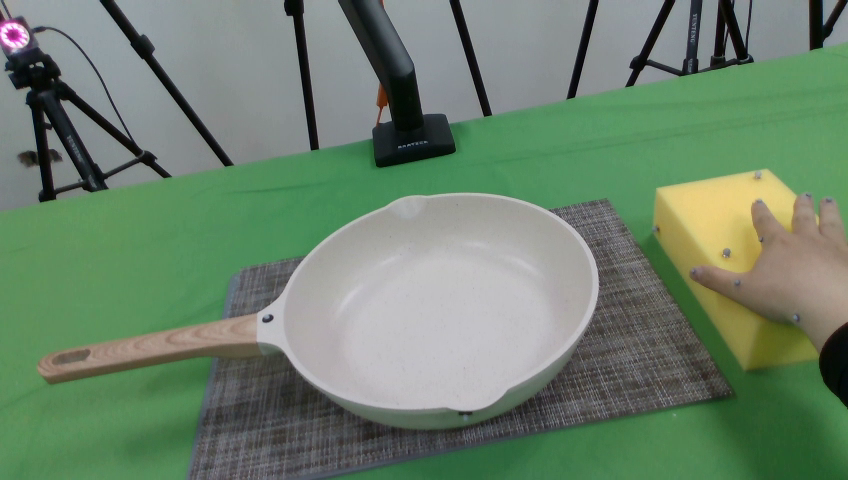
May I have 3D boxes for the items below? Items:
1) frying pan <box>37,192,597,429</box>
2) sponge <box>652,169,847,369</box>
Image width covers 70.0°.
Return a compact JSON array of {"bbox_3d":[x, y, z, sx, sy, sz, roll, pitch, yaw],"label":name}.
[{"bbox_3d":[-0.089,0.072,0.557,0.489,0.103,0.303,-7,35,-8],"label":"frying pan"},{"bbox_3d":[0.312,0.017,0.568,0.118,0.061,0.204,-11,36,1],"label":"sponge"}]
